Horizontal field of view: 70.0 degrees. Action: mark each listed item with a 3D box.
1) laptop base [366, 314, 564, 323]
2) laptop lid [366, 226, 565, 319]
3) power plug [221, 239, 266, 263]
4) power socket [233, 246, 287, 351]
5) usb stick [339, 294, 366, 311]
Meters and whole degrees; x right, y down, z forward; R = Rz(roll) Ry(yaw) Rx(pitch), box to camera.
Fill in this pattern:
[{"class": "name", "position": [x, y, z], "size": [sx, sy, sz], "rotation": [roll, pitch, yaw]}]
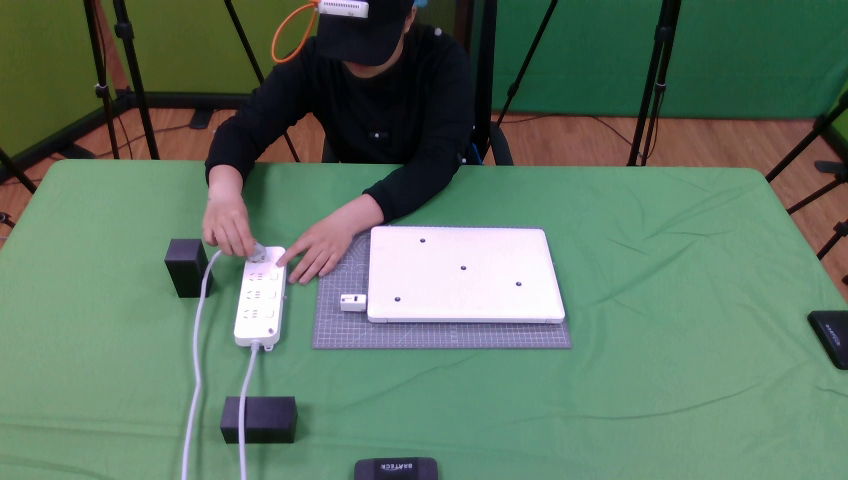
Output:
[{"class": "laptop base", "position": [0.071, 0.065, 1.144], "size": [0.355, 0.023, 0.234], "rotation": [1, 42, -4]}, {"class": "laptop lid", "position": [0.072, 0.055, 1.137], "size": [0.357, 0.013, 0.240], "rotation": [2, 44, -3]}, {"class": "power plug", "position": [-0.324, 0.020, 1.105], "size": [0.072, 0.053, 0.035], "rotation": [6, 43, 5]}, {"class": "power socket", "position": [-0.289, 0.095, 1.077], "size": [0.072, 0.033, 0.225], "rotation": [-2, 46, -5]}, {"class": "usb stick", "position": [-0.119, 0.111, 1.068], "size": [0.059, 0.027, 0.021], "rotation": [4, 46, -5]}]
